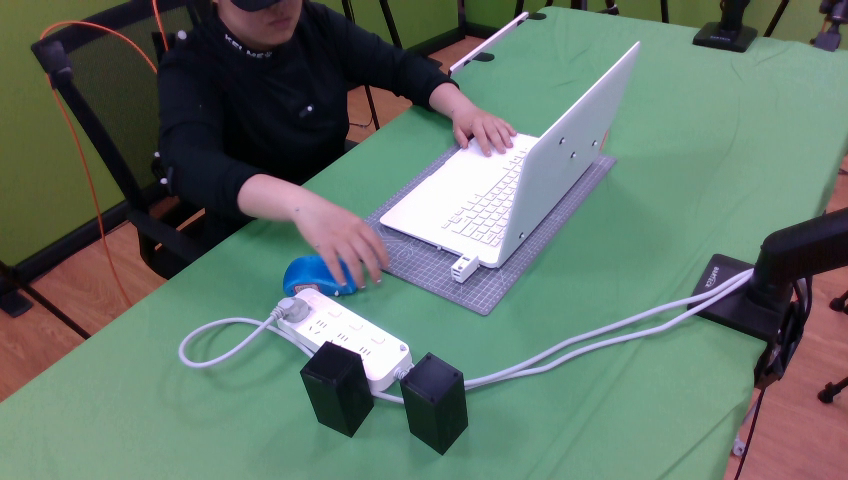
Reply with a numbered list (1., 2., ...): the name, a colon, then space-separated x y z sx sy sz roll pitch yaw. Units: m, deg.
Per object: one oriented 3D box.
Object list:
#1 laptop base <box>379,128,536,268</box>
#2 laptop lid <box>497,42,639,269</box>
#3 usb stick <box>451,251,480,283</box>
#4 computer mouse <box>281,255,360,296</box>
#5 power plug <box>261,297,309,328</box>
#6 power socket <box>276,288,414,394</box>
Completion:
1. laptop base: 0.118 -0.088 1.058 0.233 0.023 0.355 19 47 32
2. laptop lid: 0.221 -0.130 0.913 0.013 0.242 0.357 31 51 21
3. usb stick: 0.066 0.036 0.899 0.021 0.027 0.059 23 45 32
4. computer mouse: -0.157 0.054 0.917 0.117 0.041 0.062 2 37 1
5. power plug: -0.192 0.107 0.831 0.073 0.053 0.035 -33 43 -26
6. power socket: -0.114 0.132 0.820 0.225 0.033 0.072 26 49 32
